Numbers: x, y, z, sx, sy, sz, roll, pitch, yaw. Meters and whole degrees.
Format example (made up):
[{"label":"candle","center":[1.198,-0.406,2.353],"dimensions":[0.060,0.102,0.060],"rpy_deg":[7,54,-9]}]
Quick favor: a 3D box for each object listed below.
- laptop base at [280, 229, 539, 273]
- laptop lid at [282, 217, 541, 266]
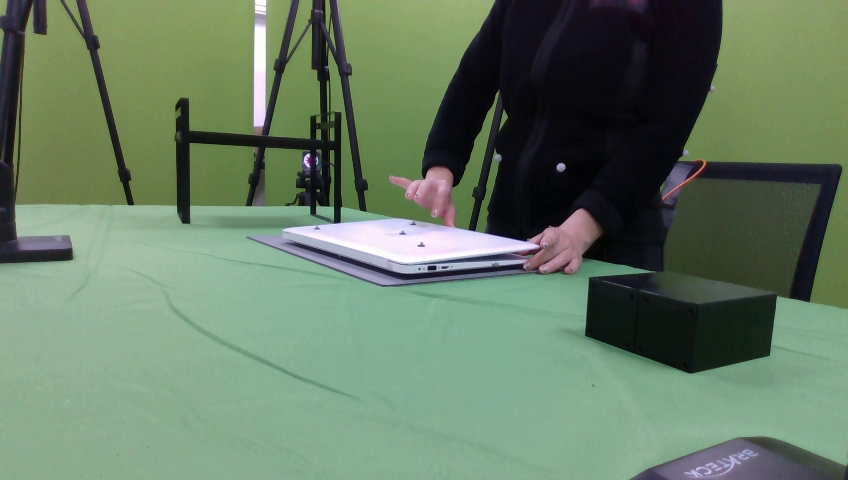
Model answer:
[{"label":"laptop base","center":[-0.036,0.013,0.895],"dimensions":[0.237,0.023,0.352],"rpy_deg":[1,6,-37]},{"label":"laptop lid","center":[-0.033,-0.007,0.893],"dimensions":[0.243,0.013,0.355],"rpy_deg":[-6,11,-35]}]
